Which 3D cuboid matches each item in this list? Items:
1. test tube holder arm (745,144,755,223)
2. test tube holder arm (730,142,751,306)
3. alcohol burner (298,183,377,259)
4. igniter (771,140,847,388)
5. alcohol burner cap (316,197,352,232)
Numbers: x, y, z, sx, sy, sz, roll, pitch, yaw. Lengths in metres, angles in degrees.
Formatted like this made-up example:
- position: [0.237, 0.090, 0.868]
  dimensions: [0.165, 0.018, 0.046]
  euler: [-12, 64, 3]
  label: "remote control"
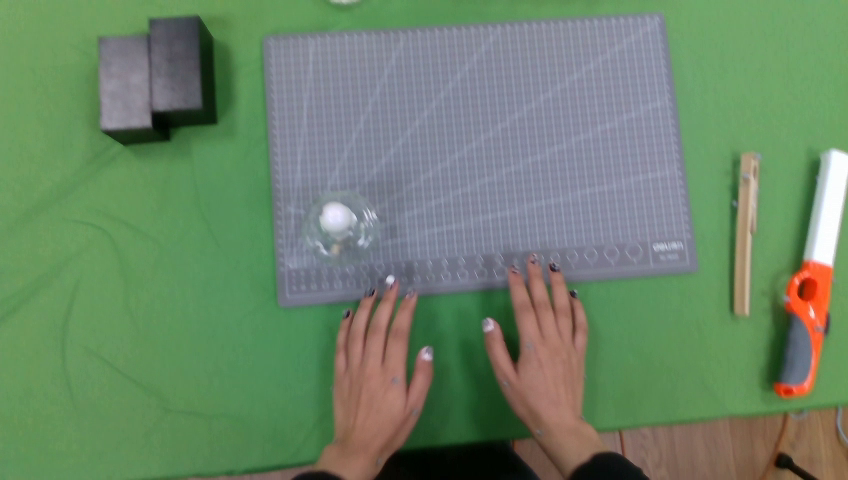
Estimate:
- position: [0.353, -0.061, 0.665]
  dimensions: [0.010, 0.015, 0.087]
  euler: [12, 82, -33]
  label: "test tube holder arm"
- position: [0.343, -0.018, 0.657]
  dimensions: [0.013, 0.015, 0.178]
  euler: [10, 83, -33]
  label: "test tube holder arm"
- position: [-0.085, -0.021, 0.588]
  dimensions: [0.078, 0.119, 0.077]
  euler: [1, 82, -4]
  label: "alcohol burner"
- position: [0.418, 0.026, 0.654]
  dimensions: [0.057, 0.025, 0.276]
  euler: [16, 83, -11]
  label: "igniter"
- position: [-0.083, -0.024, 0.552]
  dimensions: [0.034, 0.048, 0.034]
  euler: [0, 88, -4]
  label: "alcohol burner cap"
